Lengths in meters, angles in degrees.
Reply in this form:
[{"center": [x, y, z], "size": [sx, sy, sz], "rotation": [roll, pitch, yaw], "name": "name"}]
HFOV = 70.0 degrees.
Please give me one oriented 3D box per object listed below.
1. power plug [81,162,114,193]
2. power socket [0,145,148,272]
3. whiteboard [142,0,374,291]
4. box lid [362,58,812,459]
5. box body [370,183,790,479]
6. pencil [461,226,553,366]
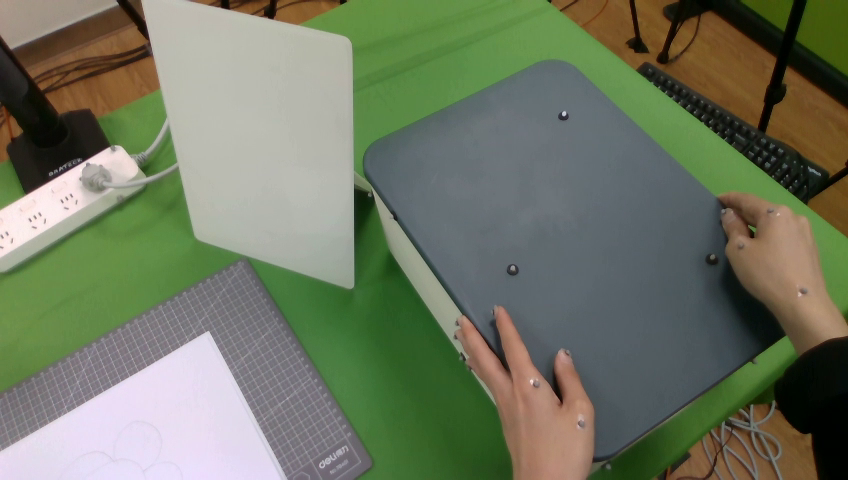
[{"center": [-0.403, -0.066, 0.754], "size": [0.035, 0.053, 0.072], "rotation": [-28, 63, -13], "name": "power plug"}, {"center": [-0.460, -0.043, 0.770], "size": [0.226, 0.033, 0.071], "rotation": [-37, 65, -19], "name": "power socket"}, {"center": [-0.149, -0.124, 0.682], "size": [0.216, 0.308, 0.143], "rotation": [17, 42, 13], "name": "whiteboard"}, {"center": [0.131, -0.019, 0.560], "size": [0.263, 0.015, 0.368], "rotation": [-29, 62, -14], "name": "box lid"}, {"center": [0.136, 0.027, 0.626], "size": [0.254, 0.162, 0.360], "rotation": [-29, 62, -15], "name": "box body"}, {"center": [0.093, 0.061, 0.692], "size": [0.012, 0.012, 0.192], "rotation": [-26, 67, -12], "name": "pencil"}]
